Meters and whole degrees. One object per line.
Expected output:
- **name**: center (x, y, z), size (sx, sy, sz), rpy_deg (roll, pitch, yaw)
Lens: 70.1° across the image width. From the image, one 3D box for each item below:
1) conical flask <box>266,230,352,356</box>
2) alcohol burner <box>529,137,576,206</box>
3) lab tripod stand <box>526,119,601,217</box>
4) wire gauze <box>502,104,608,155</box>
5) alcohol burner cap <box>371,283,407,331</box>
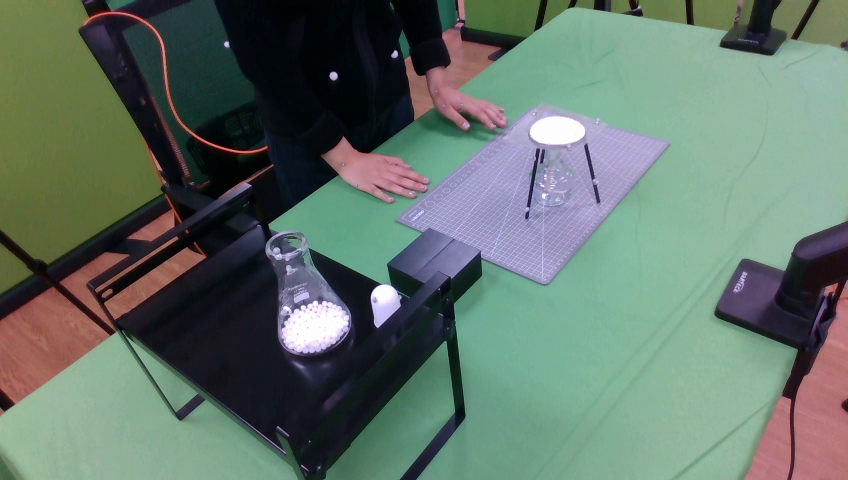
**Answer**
- **conical flask**: center (-0.116, 0.047, 0.580), size (0.075, 0.122, 0.075), rpy_deg (-5, 40, 4)
- **alcohol burner**: center (0.214, -0.117, 1.005), size (0.078, 0.119, 0.077), rpy_deg (-4, 38, 4)
- **lab tripod stand**: center (0.220, -0.122, 0.995), size (0.148, 0.132, 0.147), rpy_deg (-3, 39, 3)
- **wire gauze**: center (0.207, -0.173, 0.953), size (0.120, 0.011, 0.125), rpy_deg (24, 48, 31)
- **alcohol burner cap**: center (-0.037, 0.065, 0.608), size (0.034, 0.048, 0.033), rpy_deg (-5, 39, 5)
